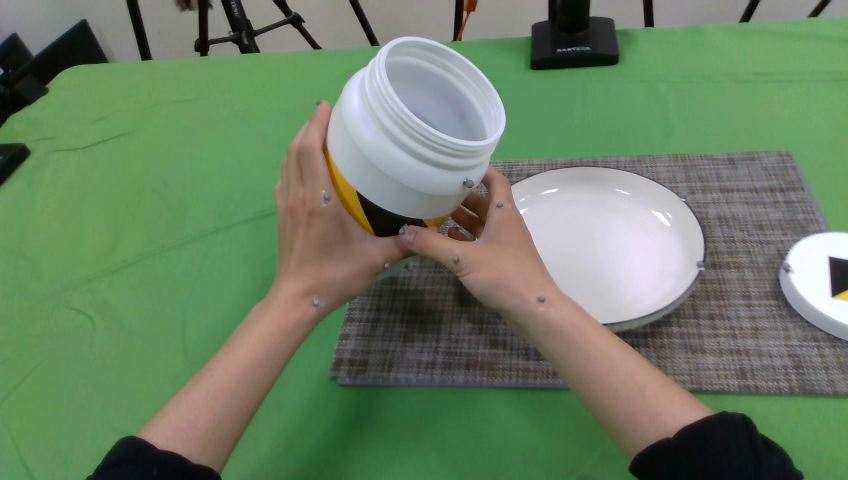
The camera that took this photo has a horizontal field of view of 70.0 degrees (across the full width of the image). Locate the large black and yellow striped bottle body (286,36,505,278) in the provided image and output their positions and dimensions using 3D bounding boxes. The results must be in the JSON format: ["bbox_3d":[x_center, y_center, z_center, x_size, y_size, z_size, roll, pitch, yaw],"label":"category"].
[{"bbox_3d":[-0.027,-0.064,0.510,0.131,0.184,0.129,18,49,-22],"label":"large black and yellow striped bottle body"}]

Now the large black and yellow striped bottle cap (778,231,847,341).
[{"bbox_3d":[0.367,0.038,0.516,0.115,0.019,0.114,-3,47,3],"label":"large black and yellow striped bottle cap"}]

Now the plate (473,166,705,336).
[{"bbox_3d":[0.151,0.009,0.572,0.207,0.039,0.205,-5,45,6],"label":"plate"}]
